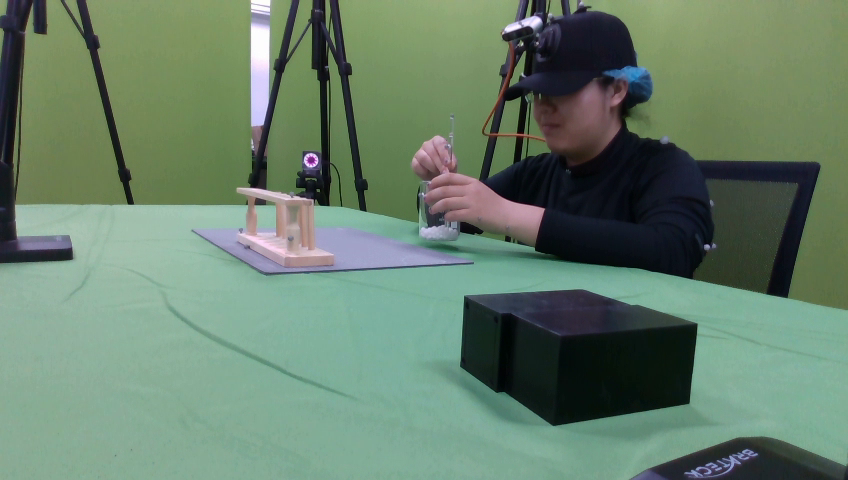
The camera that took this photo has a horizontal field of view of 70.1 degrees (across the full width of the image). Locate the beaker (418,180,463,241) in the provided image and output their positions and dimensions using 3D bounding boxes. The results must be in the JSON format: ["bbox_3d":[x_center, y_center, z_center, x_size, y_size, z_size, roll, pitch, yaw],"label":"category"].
[{"bbox_3d":[0.030,-0.049,1.012,0.083,0.100,0.074,5,5,40],"label":"beaker"}]

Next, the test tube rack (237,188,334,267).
[{"bbox_3d":[-0.202,-0.024,0.855,0.067,0.085,0.241,-2,8,-30],"label":"test tube rack"}]

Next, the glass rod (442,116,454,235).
[{"bbox_3d":[0.040,-0.107,1.007,0.008,0.199,0.008,4,0,0],"label":"glass rod"}]
